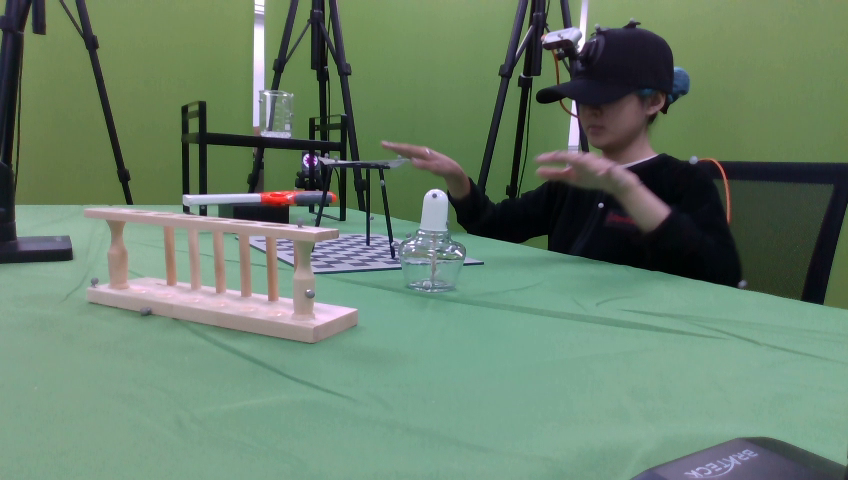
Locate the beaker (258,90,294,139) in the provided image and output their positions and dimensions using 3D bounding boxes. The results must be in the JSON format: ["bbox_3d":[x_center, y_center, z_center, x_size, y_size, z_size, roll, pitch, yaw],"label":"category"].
[{"bbox_3d":[-0.324,-0.274,1.331,0.083,0.100,0.074,7,9,24],"label":"beaker"}]

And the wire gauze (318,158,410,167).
[{"bbox_3d":[-0.090,-0.114,0.888,0.122,0.011,0.124,0,6,-15],"label":"wire gauze"}]

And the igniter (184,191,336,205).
[{"bbox_3d":[-0.298,-0.078,1.126,0.278,0.025,0.057,-4,13,-32],"label":"igniter"}]

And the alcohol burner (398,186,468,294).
[{"bbox_3d":[0.011,-0.001,0.669,0.078,0.119,0.078,5,8,0],"label":"alcohol burner"}]

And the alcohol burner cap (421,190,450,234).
[{"bbox_3d":[0.014,-0.031,0.665,0.034,0.048,0.034,5,9,0],"label":"alcohol burner cap"}]

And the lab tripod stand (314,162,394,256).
[{"bbox_3d":[-0.098,-0.048,0.897,0.148,0.131,0.148,1,6,0],"label":"lab tripod stand"}]

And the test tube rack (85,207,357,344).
[{"bbox_3d":[-0.177,0.022,0.518,0.241,0.085,0.067,6,7,23],"label":"test tube rack"}]
